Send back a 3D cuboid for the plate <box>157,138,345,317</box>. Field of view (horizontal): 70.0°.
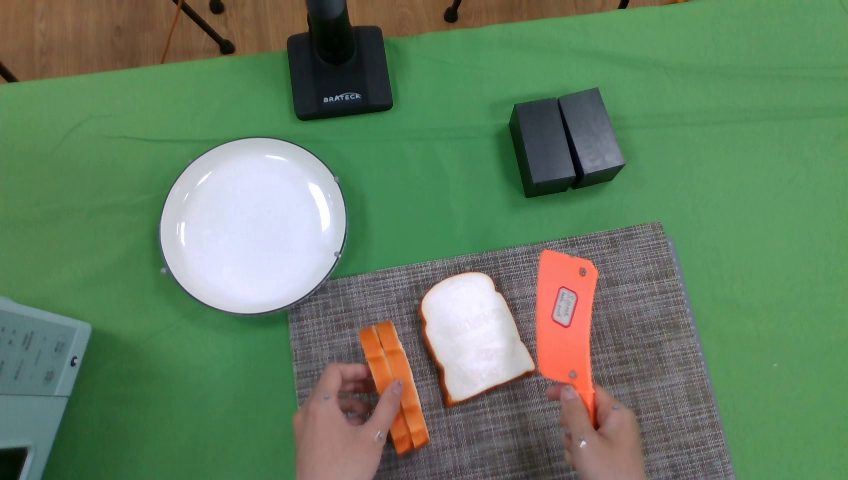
[{"bbox_3d":[-0.192,-0.014,0.691,0.208,0.039,0.206,1,75,-2],"label":"plate"}]

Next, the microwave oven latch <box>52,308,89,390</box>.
[{"bbox_3d":[-0.379,0.115,0.634,0.030,0.029,0.079,14,76,2],"label":"microwave oven latch"}]

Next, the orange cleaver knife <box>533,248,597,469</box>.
[{"bbox_3d":[0.137,0.111,0.591,0.012,0.077,0.211,-1,88,-41],"label":"orange cleaver knife"}]

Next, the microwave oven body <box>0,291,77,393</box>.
[{"bbox_3d":[-0.559,0.225,0.500,0.326,0.261,0.439,12,76,1],"label":"microwave oven body"}]

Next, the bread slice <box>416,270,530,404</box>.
[{"bbox_3d":[0.052,0.102,0.677,0.107,0.018,0.134,-17,86,-11],"label":"bread slice"}]

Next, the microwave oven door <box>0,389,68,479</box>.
[{"bbox_3d":[-0.425,0.294,0.481,0.039,0.245,0.354,12,75,2],"label":"microwave oven door"}]
